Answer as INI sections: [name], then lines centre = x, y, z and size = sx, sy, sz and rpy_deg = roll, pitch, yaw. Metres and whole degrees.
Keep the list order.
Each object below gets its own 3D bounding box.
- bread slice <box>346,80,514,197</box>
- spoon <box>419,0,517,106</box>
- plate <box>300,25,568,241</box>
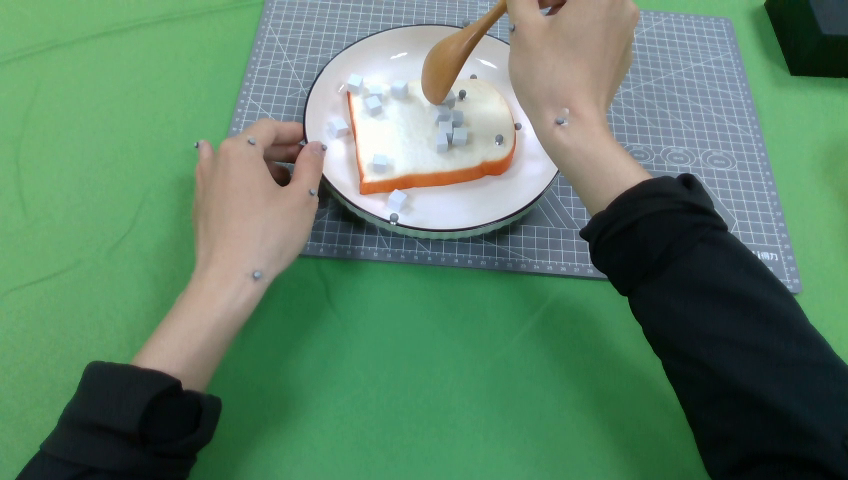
[bread slice]
centre = 0.006, -0.089, 0.489
size = 0.132, 0.019, 0.104
rpy_deg = -10, 62, -7
[spoon]
centre = 0.051, -0.162, 0.416
size = 0.022, 0.194, 0.041
rpy_deg = 6, 55, -41
[plate]
centre = 0.008, -0.086, 0.483
size = 0.209, 0.038, 0.207
rpy_deg = 2, 61, -3
